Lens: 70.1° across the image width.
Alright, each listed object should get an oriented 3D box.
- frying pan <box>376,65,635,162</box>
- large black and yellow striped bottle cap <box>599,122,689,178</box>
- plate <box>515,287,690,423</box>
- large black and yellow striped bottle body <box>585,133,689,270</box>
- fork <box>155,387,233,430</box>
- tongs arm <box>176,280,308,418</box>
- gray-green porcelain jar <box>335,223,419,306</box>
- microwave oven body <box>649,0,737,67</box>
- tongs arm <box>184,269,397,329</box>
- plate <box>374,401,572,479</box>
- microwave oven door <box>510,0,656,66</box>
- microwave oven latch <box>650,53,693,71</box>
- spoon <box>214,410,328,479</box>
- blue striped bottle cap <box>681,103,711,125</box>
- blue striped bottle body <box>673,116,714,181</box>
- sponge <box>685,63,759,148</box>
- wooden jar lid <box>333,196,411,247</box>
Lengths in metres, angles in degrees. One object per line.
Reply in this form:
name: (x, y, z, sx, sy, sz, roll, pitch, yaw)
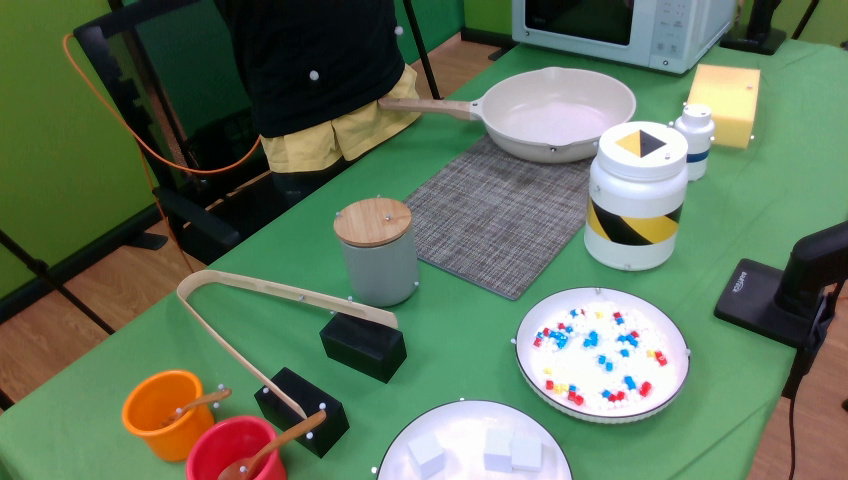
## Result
frying pan: (0.150, -0.254, 1.177, 0.488, 0.103, 0.306, 6, 41, 3)
large black and yellow striped bottle cap: (0.296, -0.123, 0.818, 0.115, 0.019, 0.114, -5, 40, 5)
plate: (0.220, 0.144, 0.760, 0.209, 0.038, 0.208, -4, 40, 4)
large black and yellow striped bottle body: (0.305, -0.061, 0.874, 0.131, 0.185, 0.130, -4, 41, 4)
fork: (-0.264, 0.191, 0.687, 0.206, 0.018, 0.028, -33, 7, 44)
tongs arm: (-0.254, 0.133, 0.801, 0.028, 0.028, 0.384, -41, 40, -23)
gray-green porcelain jar: (-0.064, 0.024, 0.872, 0.106, 0.127, 0.105, -4, 41, 4)
microwave oven body: (0.475, -0.602, 1.411, 0.438, 0.261, 0.327, 23, 50, 32)
tongs arm: (-0.202, 0.085, 0.848, 0.382, 0.027, 0.051, 11, 45, 35)
plate: (0.051, 0.268, 0.639, 0.207, 0.039, 0.206, -3, 40, 3)
microwave oven door: (0.350, -0.539, 1.349, 0.353, 0.245, 0.039, 24, 50, 31)
microwave oven latch: (0.531, -0.386, 1.301, 0.078, 0.029, 0.030, 26, 51, 33)
spoon: (-0.166, 0.223, 0.639, 0.193, 0.022, 0.041, -40, 33, 29)
blue striped bottle cap: (0.446, -0.205, 0.990, 0.044, 0.021, 0.044, -5, 43, 5)
blue striped bottle body: (0.451, -0.166, 1.023, 0.063, 0.121, 0.063, -5, 41, 4)
sponge: (0.569, -0.263, 1.164, 0.117, 0.061, 0.207, 12, 45, 22)
wooden jar lid: (-0.071, -0.023, 0.830, 0.108, 0.021, 0.108, -4, 36, 3)
